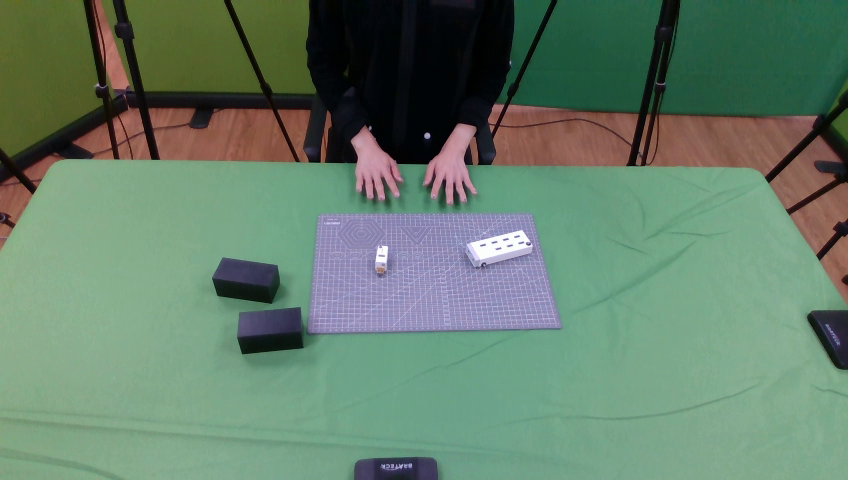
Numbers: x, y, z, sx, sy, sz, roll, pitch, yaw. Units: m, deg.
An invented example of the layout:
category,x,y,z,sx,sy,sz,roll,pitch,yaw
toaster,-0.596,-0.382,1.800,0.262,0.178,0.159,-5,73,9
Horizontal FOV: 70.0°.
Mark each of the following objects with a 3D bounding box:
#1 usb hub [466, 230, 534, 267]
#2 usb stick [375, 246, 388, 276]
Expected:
category,x,y,z,sx,sy,sz,roll,pitch,yaw
usb hub,0.148,0.017,1.185,0.125,0.025,0.049,-14,49,-16
usb stick,-0.081,0.040,1.146,0.021,0.027,0.059,6,48,-1
